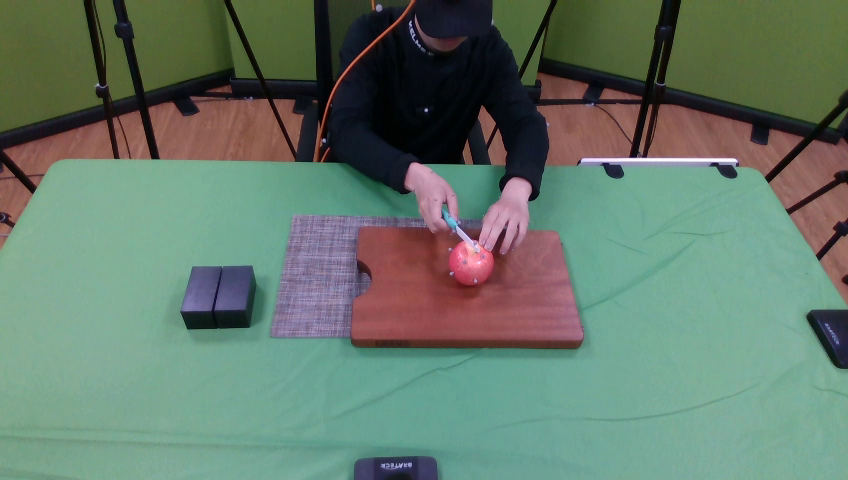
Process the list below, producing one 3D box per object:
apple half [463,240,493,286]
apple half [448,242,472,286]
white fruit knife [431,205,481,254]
[{"bbox_3d":[0.096,0.042,1.093,0.053,0.075,0.080,-3,42,-14],"label":"apple half"},{"bbox_3d":[0.059,0.046,1.085,0.033,0.081,0.080,-3,46,-14],"label":"apple half"},{"bbox_3d":[0.057,-0.022,1.104,0.016,0.027,0.206,-26,32,-11],"label":"white fruit knife"}]
